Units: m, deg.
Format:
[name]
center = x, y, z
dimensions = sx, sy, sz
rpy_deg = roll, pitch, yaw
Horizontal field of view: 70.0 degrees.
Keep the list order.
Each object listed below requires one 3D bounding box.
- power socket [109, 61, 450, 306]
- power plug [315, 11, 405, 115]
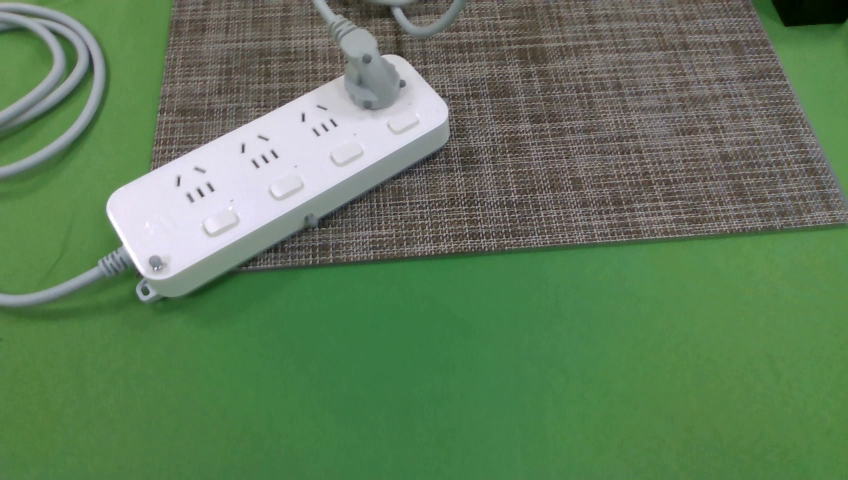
[power socket]
center = -0.083, -0.042, 0.379
dimensions = 0.227, 0.033, 0.071
rpy_deg = -32, 67, -16
[power plug]
center = -0.039, -0.111, 0.392
dimensions = 0.035, 0.053, 0.072
rpy_deg = -22, 66, -11
